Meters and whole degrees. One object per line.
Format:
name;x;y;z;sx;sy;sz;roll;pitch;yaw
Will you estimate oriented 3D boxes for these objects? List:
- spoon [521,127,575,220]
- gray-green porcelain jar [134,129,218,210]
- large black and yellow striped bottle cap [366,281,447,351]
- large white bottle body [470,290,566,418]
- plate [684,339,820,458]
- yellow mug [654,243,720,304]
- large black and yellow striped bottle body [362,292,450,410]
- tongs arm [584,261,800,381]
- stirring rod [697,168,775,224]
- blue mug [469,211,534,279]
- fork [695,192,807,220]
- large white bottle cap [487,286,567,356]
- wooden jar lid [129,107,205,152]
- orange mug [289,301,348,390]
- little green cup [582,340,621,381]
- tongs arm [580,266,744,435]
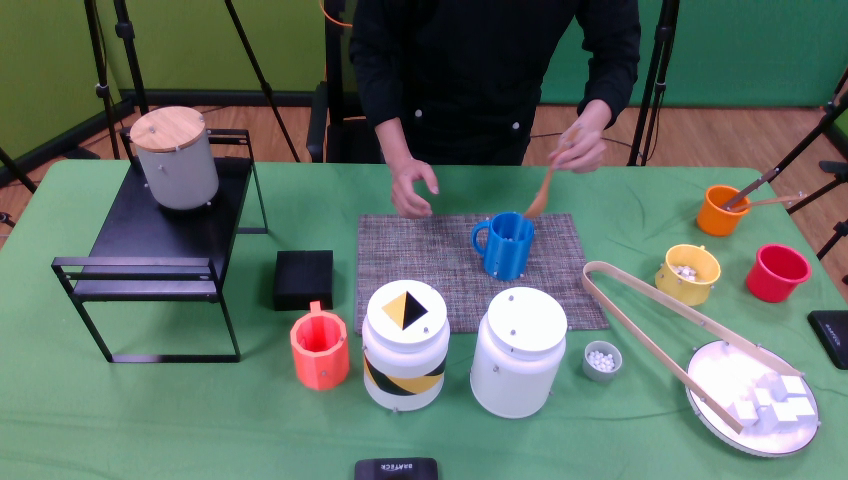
spoon;0.205;-0.106;1.008;0.042;0.194;0.021;-10;44;-31
gray-green porcelain jar;-0.388;-0.120;0.960;0.106;0.127;0.105;2;46;-2
large black and yellow striped bottle cap;-0.025;0.106;0.865;0.115;0.019;0.114;2;46;-1
large white bottle body;0.143;0.173;0.930;0.131;0.185;0.130;2;46;-2
plate;0.523;0.256;0.982;0.208;0.039;0.206;2;46;-2
yellow mug;0.504;0.054;1.154;0.099;0.064;0.130;28;49;22
large black and yellow striped bottle body;-0.029;0.163;0.928;0.131;0.185;0.130;2;47;-2
tongs arm;0.452;0.137;1.064;0.051;0.027;0.382;-34;50;-27
stirring rod;0.644;-0.090;1.252;0.176;0.006;0.014;-39;53;16
blue mug;0.141;0.005;1.140;0.116;0.106;0.082;18;48;13
fork;0.655;-0.069;1.224;0.207;0.019;0.028;-17;34;45
large white bottle cap;0.147;0.114;0.869;0.115;0.018;0.114;3;46;-3
wooden jar lid;-0.385;-0.163;0.915;0.108;0.021;0.107;2;47;-2
orange mug;-0.170;0.162;0.976;0.083;0.101;0.125;-7;52;-11
little green cup;0.295;0.203;1.015;0.061;0.039;0.061;2;45;-2
tongs arm;0.384;0.173;1.029;0.028;0.028;0.385;-25;46;-15
